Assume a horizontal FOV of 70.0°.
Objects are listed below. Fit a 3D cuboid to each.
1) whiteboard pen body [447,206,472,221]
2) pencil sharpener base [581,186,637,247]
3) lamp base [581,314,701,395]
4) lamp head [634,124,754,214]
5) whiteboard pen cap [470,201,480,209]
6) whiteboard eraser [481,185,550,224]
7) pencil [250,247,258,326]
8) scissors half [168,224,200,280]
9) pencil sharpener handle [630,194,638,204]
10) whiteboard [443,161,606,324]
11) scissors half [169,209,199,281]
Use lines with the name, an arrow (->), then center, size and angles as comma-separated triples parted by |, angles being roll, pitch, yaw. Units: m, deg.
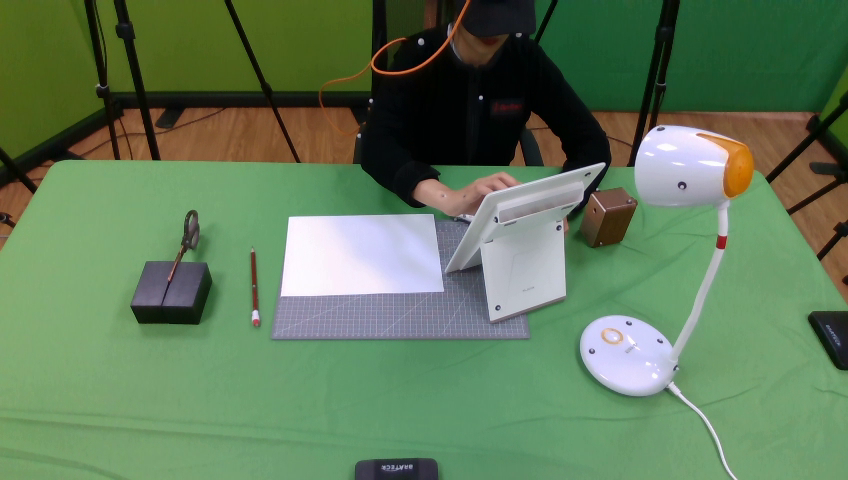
whiteboard pen body -> 0.111, -0.038, 1.241 | 0.140, 0.017, 0.017 | 23, 49, 14
pencil sharpener base -> 0.369, -0.047, 1.209 | 0.077, 0.107, 0.061 | -11, 47, -14
lamp base -> 0.361, 0.145, 0.973 | 0.178, 0.181, 0.160 | 34, 53, 23
lamp head -> 0.351, -0.089, 0.776 | 0.112, 0.113, 0.122 | -30, 30, -28
whiteboard pen cap -> 0.113, -0.073, 1.279 | 0.033, 0.018, 0.018 | 4, 46, 6
whiteboard eraser -> 0.157, -0.059, 1.035 | 0.113, 0.056, 0.041 | -15, 71, -17
pencil -> -0.312, 0.079, 1.107 | 0.012, 0.012, 0.192 | -7, 46, -11
scissors half -> -0.440, 0.023, 1.111 | 0.013, 0.040, 0.174 | 7, 29, -6
pencil sharpener handle -> 0.417, -0.068, 1.215 | 0.031, 0.068, 0.036 | -11, 60, -14
whiteboard -> 0.185, 0.025, 1.029 | 0.217, 0.306, 0.143 | -15, 68, -18
scissors half -> -0.438, 0.007, 1.098 | 0.013, 0.040, 0.174 | 3, 48, -3
